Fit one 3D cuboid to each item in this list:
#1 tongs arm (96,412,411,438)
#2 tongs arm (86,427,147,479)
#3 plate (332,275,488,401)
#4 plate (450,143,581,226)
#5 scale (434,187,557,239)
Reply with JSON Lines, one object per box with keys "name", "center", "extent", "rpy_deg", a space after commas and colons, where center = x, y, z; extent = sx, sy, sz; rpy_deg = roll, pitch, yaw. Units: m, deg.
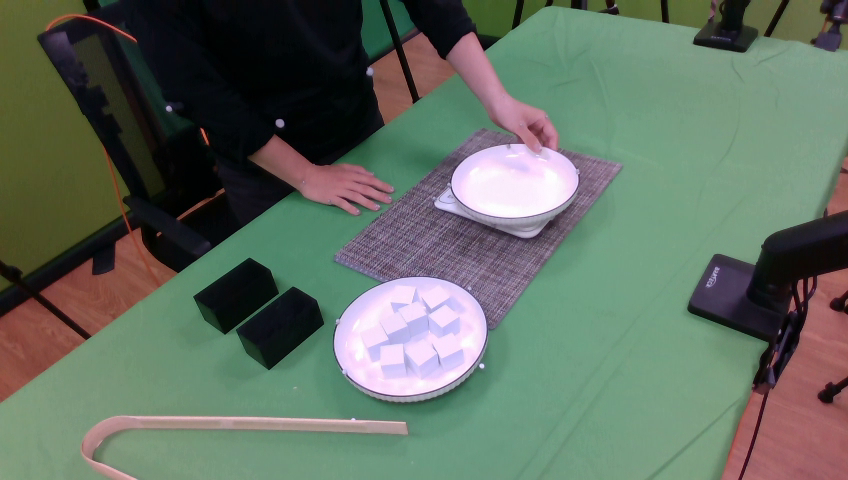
{"name": "tongs arm", "center": [-0.208, 0.226, 0.732], "extent": [0.387, 0.028, 0.028], "rpy_deg": [-1, 43, 7]}
{"name": "tongs arm", "center": [-0.232, 0.280, 0.665], "extent": [0.383, 0.026, 0.051], "rpy_deg": [9, 42, 20]}
{"name": "plate", "center": [-0.017, 0.131, 0.808], "extent": [0.207, 0.039, 0.206], "rpy_deg": [-4, 41, 4]}
{"name": "plate", "center": [0.148, -0.087, 0.986], "extent": [0.209, 0.038, 0.208], "rpy_deg": [-4, 41, 4]}
{"name": "scale", "center": [0.132, -0.074, 1.025], "extent": [0.199, 0.032, 0.149], "rpy_deg": [22, 48, 30]}
